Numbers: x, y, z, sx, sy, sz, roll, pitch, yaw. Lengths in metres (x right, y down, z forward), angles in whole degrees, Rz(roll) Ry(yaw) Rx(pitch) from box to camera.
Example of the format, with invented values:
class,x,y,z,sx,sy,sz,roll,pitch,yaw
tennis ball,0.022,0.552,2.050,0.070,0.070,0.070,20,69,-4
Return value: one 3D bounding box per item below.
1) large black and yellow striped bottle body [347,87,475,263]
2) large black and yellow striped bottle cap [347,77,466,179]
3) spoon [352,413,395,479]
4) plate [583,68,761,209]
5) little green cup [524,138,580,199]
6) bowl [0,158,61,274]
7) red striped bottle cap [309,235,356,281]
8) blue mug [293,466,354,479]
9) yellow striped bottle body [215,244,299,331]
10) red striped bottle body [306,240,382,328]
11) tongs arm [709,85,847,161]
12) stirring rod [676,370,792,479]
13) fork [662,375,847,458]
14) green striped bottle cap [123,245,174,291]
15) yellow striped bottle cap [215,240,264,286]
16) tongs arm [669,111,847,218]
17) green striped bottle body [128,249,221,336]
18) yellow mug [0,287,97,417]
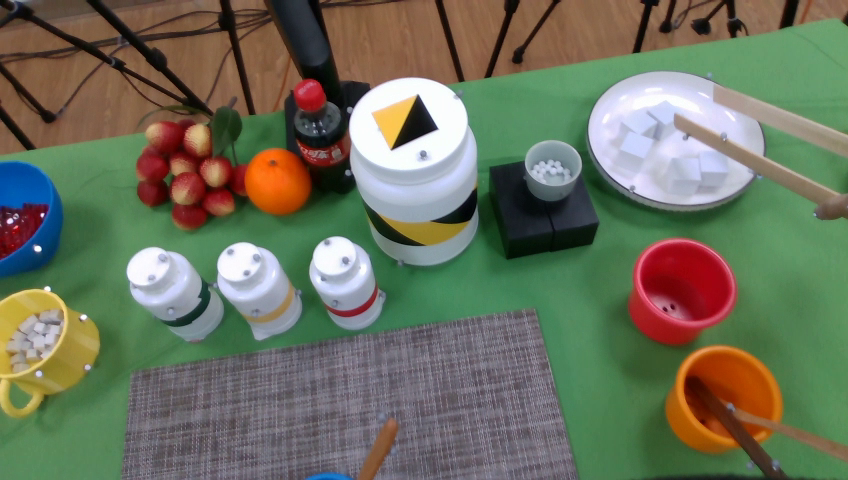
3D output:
class,x,y,z,sx,sy,sz,roll,pitch,yaw
large black and yellow striped bottle body,-0.010,-0.070,0.657,0.131,0.185,0.129,-2,61,4
large black and yellow striped bottle cap,-0.017,-0.110,0.583,0.115,0.019,0.114,-2,60,4
spoon,-0.057,0.210,0.498,0.041,0.195,0.022,37,36,23
plate,0.299,-0.123,0.747,0.209,0.038,0.207,-2,62,3
little green cup,0.140,-0.078,0.675,0.061,0.039,0.061,-1,59,2
bowl,-0.499,-0.014,0.723,0.151,0.077,0.150,-1,61,3
red striped bottle cap,-0.090,0.017,0.592,0.044,0.018,0.044,0,59,0
blue mug,-0.089,0.259,0.523,0.081,0.107,0.116,39,71,23
yellow striped bottle body,-0.178,0.047,0.641,0.063,0.121,0.062,-2,60,4
red striped bottle body,-0.084,0.043,0.637,0.063,0.121,0.062,-3,60,6
tongs arm,0.415,-0.069,0.566,0.028,0.028,0.383,-28,42,-11
stirring rod,0.269,0.161,0.536,0.014,0.006,0.175,-9,18,-1
fork,0.299,0.158,0.527,0.028,0.019,0.206,-34,20,-22
green striped bottle cap,-0.272,0.027,0.600,0.044,0.020,0.044,0,62,1
yellow striped bottle cap,-0.182,0.022,0.596,0.044,0.019,0.044,-1,62,3
tongs arm,0.385,-0.050,0.560,0.051,0.027,0.380,-30,42,-9
green striped bottle body,-0.267,0.053,0.645,0.063,0.120,0.062,-1,61,3
yellow mug,-0.422,0.122,0.649,0.100,0.064,0.129,0,62,3
